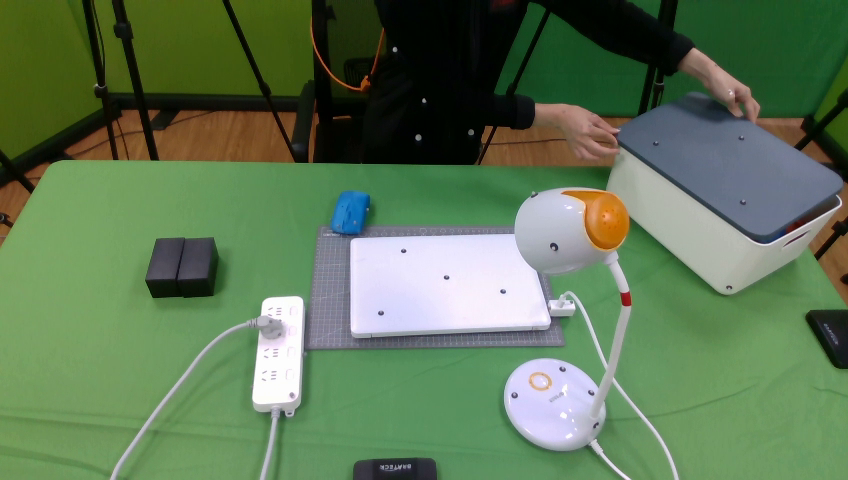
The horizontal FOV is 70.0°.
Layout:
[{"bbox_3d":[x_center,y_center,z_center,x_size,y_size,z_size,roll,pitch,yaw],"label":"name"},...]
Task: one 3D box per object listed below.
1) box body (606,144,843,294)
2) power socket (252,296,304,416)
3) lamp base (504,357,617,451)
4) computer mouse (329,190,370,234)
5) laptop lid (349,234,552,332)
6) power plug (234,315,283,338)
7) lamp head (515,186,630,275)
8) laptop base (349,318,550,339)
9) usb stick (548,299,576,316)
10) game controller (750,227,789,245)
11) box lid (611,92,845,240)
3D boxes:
[{"bbox_3d":[0.582,-0.088,1.230,0.254,0.161,0.361,-22,52,-23],"label":"box body"},{"bbox_3d":[-0.238,0.181,0.998,0.072,0.033,0.225,-3,47,-5],"label":"power socket"},{"bbox_3d":[0.220,0.211,0.903,0.160,0.181,0.178,-33,59,-30],"label":"lamp base"},{"bbox_3d":[-0.150,-0.061,1.232,0.063,0.041,0.116,10,48,4],"label":"computer mouse"},{"bbox_3d":[0.040,0.071,1.118,0.357,0.013,0.240,0,44,-5],"label":"laptop lid"},{"bbox_3d":[-0.269,0.143,1.000,0.072,0.053,0.035,4,47,3],"label":"power plug"},{"bbox_3d":[0.188,-0.013,0.728,0.112,0.112,0.122,-25,9,-25],"label":"lamp head"},{"bbox_3d":[0.039,0.081,1.124,0.355,0.023,0.234,-2,43,-6],"label":"laptop base"},{"bbox_3d":[0.239,0.121,1.084,0.059,0.027,0.021,-1,51,-1],"label":"usb stick"},{"bbox_3d":[0.615,-0.045,1.165,0.097,0.052,0.154,-39,60,-25],"label":"game controller"},{"bbox_3d":[0.578,-0.158,1.172,0.263,0.015,0.369,-27,52,-20],"label":"box lid"}]
